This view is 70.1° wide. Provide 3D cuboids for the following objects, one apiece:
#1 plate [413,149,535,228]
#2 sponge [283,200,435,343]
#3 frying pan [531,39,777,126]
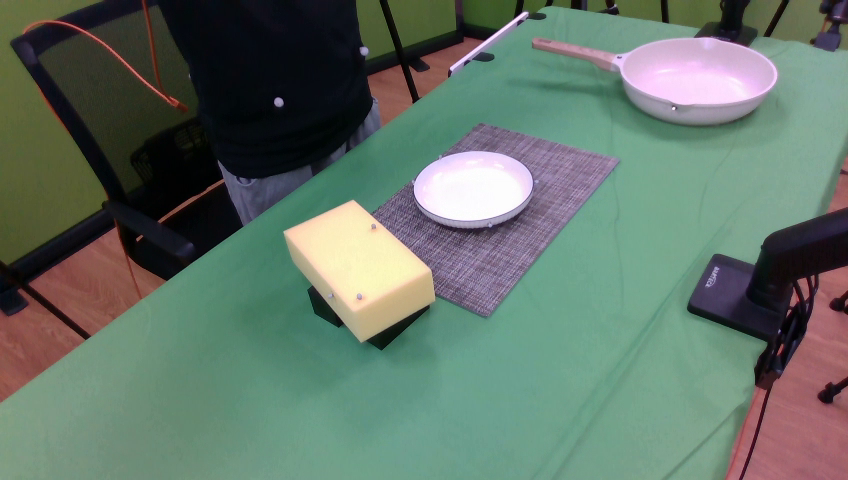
[{"bbox_3d":[0.086,-0.085,1.038,0.207,0.039,0.206,-4,40,4],"label":"plate"},{"bbox_3d":[-0.094,0.036,0.835,0.119,0.061,0.205,-29,45,-23],"label":"sponge"},{"bbox_3d":[0.452,-0.354,1.254,0.485,0.103,0.307,22,47,19],"label":"frying pan"}]
